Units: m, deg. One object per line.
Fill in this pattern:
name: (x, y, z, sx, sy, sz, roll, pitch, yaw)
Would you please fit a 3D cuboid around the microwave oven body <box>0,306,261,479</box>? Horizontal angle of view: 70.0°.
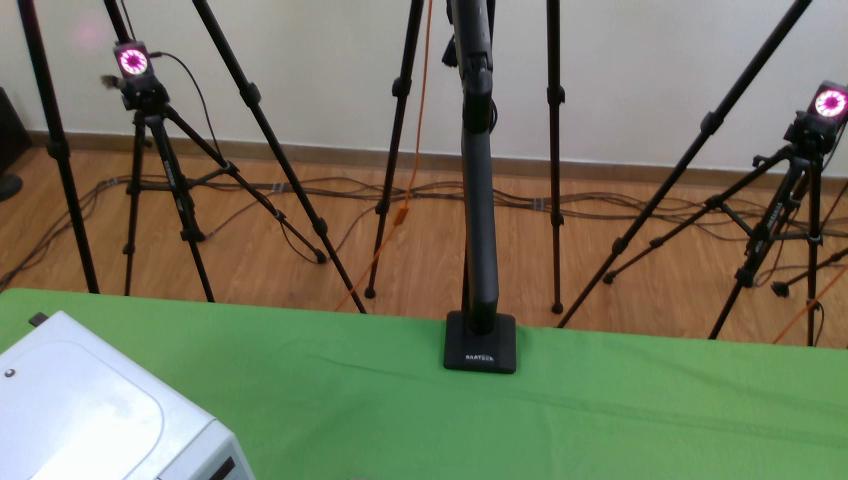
microwave oven body: (-0.453, 0.348, 0.667, 0.324, 0.262, 0.440, 25, 52, 21)
